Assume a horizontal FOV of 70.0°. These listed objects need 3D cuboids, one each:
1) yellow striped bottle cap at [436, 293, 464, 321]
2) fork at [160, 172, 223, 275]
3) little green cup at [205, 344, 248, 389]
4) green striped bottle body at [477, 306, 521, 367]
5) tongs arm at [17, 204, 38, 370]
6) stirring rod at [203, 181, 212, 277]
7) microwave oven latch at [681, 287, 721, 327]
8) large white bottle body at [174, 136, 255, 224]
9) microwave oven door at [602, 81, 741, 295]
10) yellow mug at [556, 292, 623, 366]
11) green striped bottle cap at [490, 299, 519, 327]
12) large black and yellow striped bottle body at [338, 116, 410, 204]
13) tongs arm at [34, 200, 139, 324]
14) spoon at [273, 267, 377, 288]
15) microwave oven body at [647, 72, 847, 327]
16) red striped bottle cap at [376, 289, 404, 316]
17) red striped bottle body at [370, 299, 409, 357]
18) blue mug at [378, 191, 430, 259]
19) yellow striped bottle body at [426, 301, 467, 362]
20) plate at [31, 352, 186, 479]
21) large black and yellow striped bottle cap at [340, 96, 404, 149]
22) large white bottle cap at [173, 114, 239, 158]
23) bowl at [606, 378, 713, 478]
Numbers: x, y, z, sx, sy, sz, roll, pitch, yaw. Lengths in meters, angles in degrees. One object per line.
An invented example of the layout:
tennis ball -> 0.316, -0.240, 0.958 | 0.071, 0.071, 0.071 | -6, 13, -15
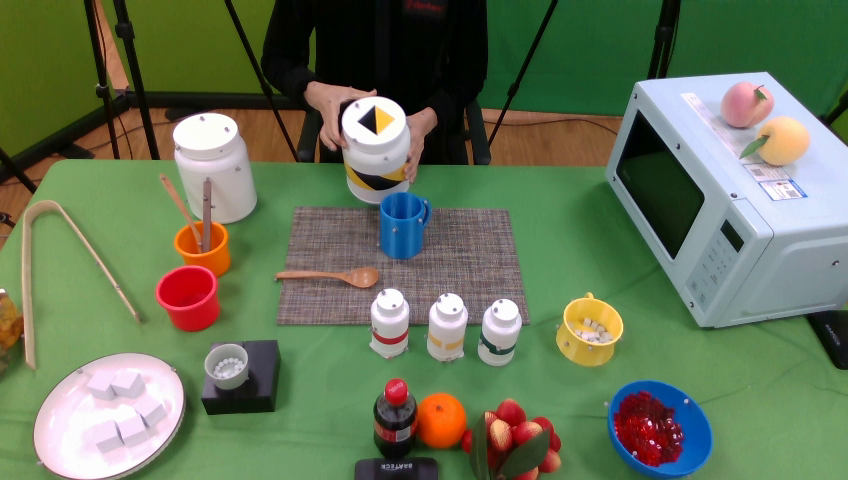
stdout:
yellow striped bottle cap -> 0.041, 0.106, 0.959 | 0.044, 0.019, 0.044 | -1, 49, 1
fork -> -0.425, -0.030, 1.103 | 0.028, 0.018, 0.207 | -29, 99, -20
little green cup -> -0.294, 0.191, 0.909 | 0.061, 0.039, 0.061 | 2, 47, -1
green striped bottle body -> 0.124, 0.151, 0.995 | 0.063, 0.120, 0.063 | 2, 46, -2
tongs arm -> -0.698, 0.069, 1.068 | 0.028, 0.028, 0.385 | -20, 50, -13
stirring rod -> -0.396, -0.021, 1.108 | 0.014, 0.006, 0.176 | -1, 89, -1
microwave oven latch -> 0.494, 0.119, 1.087 | 0.030, 0.029, 0.078 | -5, 46, -9
large white bottle body -> -0.408, -0.136, 1.183 | 0.131, 0.185, 0.130 | 2, 46, -2
microwave oven door -> 0.456, -0.107, 1.162 | 0.039, 0.245, 0.353 | -7, 47, -11
yellow mug -> 0.285, 0.145, 1.051 | 0.100, 0.064, 0.130 | 7, 45, 3
green striped bottle cap -> 0.127, 0.115, 0.958 | 0.044, 0.020, 0.044 | 3, 48, -3
large black and yellow striped bottle body -> -0.094, -0.169, 1.162 | 0.131, 0.185, 0.130 | 0, 59, 0
tongs arm -> -0.622, 0.034, 1.105 | 0.051, 0.026, 0.382 | -32, 56, -26
spoon -> -0.183, 0.065, 1.115 | 0.194, 0.022, 0.041 | 3, 67, -1
microwave oven body -> 0.607, -0.089, 1.164 | 0.326, 0.261, 0.438 | -7, 46, -10
red striped bottle cap -> -0.054, 0.098, 0.958 | 0.044, 0.018, 0.044 | 0, 48, 0
red striped bottle body -> -0.057, 0.135, 0.997 | 0.063, 0.120, 0.062 | 2, 47, -2
blue mug -> -0.033, -0.035, 1.167 | 0.116, 0.106, 0.082 | -30, 55, -29
yellow striped bottle body -> 0.037, 0.142, 0.996 | 0.063, 0.121, 0.062 | 2, 46, -2
plate -> -0.459, 0.262, 0.898 | 0.209, 0.038, 0.208 | 2, 46, -2
large black and yellow striped bottle cap -> -0.094, -0.213, 1.091 | 0.115, 0.019, 0.114 | 1, 60, -1
large white bottle cap -> -0.403, -0.195, 1.122 | 0.115, 0.018, 0.114 | 2, 47, -2
bowl -> 0.340, 0.292, 0.906 | 0.151, 0.077, 0.150 | 2, 46, -2
